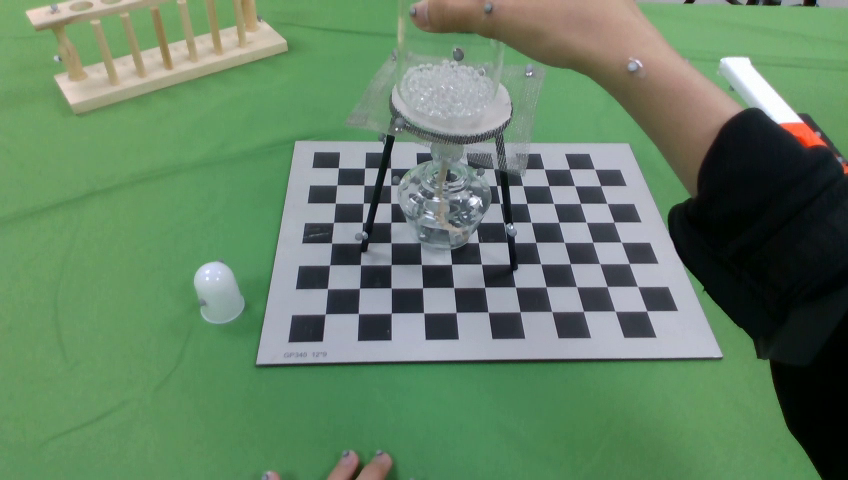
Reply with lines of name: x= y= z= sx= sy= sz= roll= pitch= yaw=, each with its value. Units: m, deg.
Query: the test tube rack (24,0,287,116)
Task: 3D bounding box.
test tube rack: x=-0.279 y=-0.224 z=0.661 sx=0.242 sy=0.086 sz=0.066 roll=-27 pitch=54 yaw=-26

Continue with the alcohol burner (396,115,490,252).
alcohol burner: x=0.016 y=-0.048 z=0.487 sx=0.078 sy=0.120 sz=0.077 roll=0 pitch=47 yaw=0

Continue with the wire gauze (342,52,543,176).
wire gauze: x=0.019 y=-0.098 z=0.428 sx=0.125 sy=0.011 sz=0.120 roll=14 pitch=46 yaw=7

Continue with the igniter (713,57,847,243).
igniter: x=0.332 y=-0.093 z=0.551 sx=0.057 sy=0.025 sz=0.273 roll=-3 pitch=44 yaw=-1

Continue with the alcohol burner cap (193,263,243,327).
alcohol burner cap: x=-0.155 y=0.038 z=0.450 sx=0.034 sy=0.048 sz=0.033 roll=3 pitch=46 yaw=-2

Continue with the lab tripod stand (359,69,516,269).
lab tripod stand: x=0.019 y=-0.053 z=0.479 sx=0.148 sy=0.132 sz=0.147 roll=3 pitch=46 yaw=-3

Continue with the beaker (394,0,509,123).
beaker: x=0.016 y=-0.131 z=0.385 sx=0.074 sy=0.101 sz=0.083 roll=8 pitch=45 yaw=4
